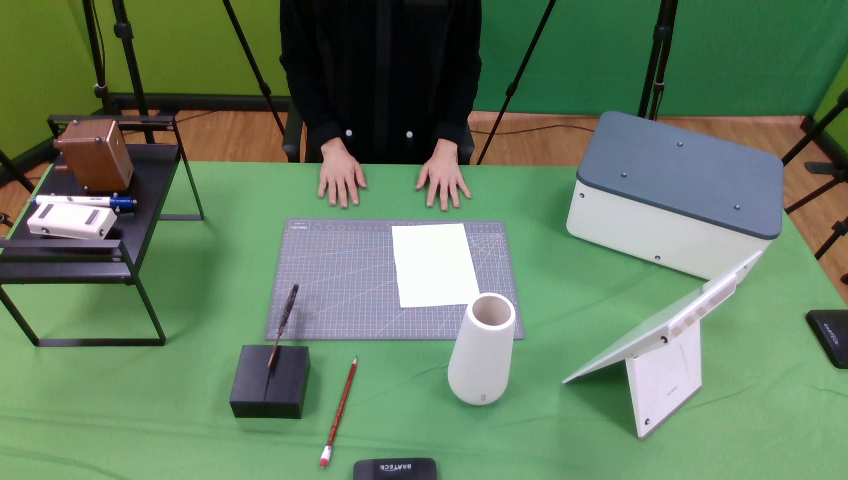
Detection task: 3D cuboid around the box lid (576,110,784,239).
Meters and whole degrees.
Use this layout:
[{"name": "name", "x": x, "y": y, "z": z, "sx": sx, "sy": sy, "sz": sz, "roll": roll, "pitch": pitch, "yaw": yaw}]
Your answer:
[{"name": "box lid", "x": 0.498, "y": -0.137, "z": 1.167, "sx": 0.371, "sy": 0.015, "sz": 0.262, "roll": 19, "pitch": 48, "yaw": 14}]

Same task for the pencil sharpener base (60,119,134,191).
[{"name": "pencil sharpener base", "x": -0.528, "y": -0.135, "z": 0.979, "sx": 0.077, "sy": 0.107, "sz": 0.061, "roll": -4, "pitch": 47, "yaw": -7}]

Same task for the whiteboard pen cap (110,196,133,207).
[{"name": "whiteboard pen cap", "x": -0.486, "y": -0.061, "z": 0.972, "sx": 0.033, "sy": 0.018, "sz": 0.018, "roll": 0, "pitch": 46, "yaw": -9}]

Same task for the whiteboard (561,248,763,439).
[{"name": "whiteboard", "x": 0.386, "y": 0.176, "z": 0.905, "sx": 0.217, "sy": 0.306, "sz": 0.143, "roll": -26, "pitch": 72, "yaw": -27}]

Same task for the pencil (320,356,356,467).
[{"name": "pencil", "x": -0.130, "y": 0.261, "z": 0.946, "sx": 0.012, "sy": 0.012, "sz": 0.193, "roll": 10, "pitch": 45, "yaw": 5}]

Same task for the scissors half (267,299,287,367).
[{"name": "scissors half", "x": -0.239, "y": 0.150, "z": 0.997, "sx": 0.013, "sy": 0.040, "sz": 0.174, "roll": 24, "pitch": 24, "yaw": -13}]

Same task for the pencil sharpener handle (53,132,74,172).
[{"name": "pencil sharpener handle", "x": -0.578, "y": -0.138, "z": 0.961, "sx": 0.031, "sy": 0.068, "sz": 0.036, "roll": -4, "pitch": 34, "yaw": -7}]

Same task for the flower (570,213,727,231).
[{"name": "flower", "x": 0.479, "y": -0.039, "z": 1.270, "sx": 0.362, "sy": 0.038, "sz": 0.044, "roll": -1, "pitch": 15, "yaw": -13}]

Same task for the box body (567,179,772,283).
[{"name": "box body", "x": 0.493, "y": -0.086, "z": 1.221, "sx": 0.363, "sy": 0.161, "sz": 0.253, "roll": 19, "pitch": 48, "yaw": 14}]

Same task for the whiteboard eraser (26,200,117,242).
[{"name": "whiteboard eraser", "x": -0.532, "y": -0.026, "z": 0.919, "sx": 0.113, "sy": 0.042, "sz": 0.055, "roll": 7, "pitch": 45, "yaw": 3}]

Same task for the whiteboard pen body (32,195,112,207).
[{"name": "whiteboard pen body", "x": -0.543, "y": -0.061, "z": 0.961, "sx": 0.141, "sy": 0.017, "sz": 0.017, "roll": 1, "pitch": 46, "yaw": -10}]

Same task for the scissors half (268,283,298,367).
[{"name": "scissors half", "x": -0.230, "y": 0.135, "z": 0.986, "sx": 0.013, "sy": 0.040, "sz": 0.174, "roll": 19, "pitch": 43, "yaw": -11}]

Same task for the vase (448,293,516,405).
[{"name": "vase", "x": 0.091, "y": 0.169, "z": 0.921, "sx": 0.098, "sy": 0.201, "sz": 0.097, "roll": 3, "pitch": 47, "yaw": -3}]
